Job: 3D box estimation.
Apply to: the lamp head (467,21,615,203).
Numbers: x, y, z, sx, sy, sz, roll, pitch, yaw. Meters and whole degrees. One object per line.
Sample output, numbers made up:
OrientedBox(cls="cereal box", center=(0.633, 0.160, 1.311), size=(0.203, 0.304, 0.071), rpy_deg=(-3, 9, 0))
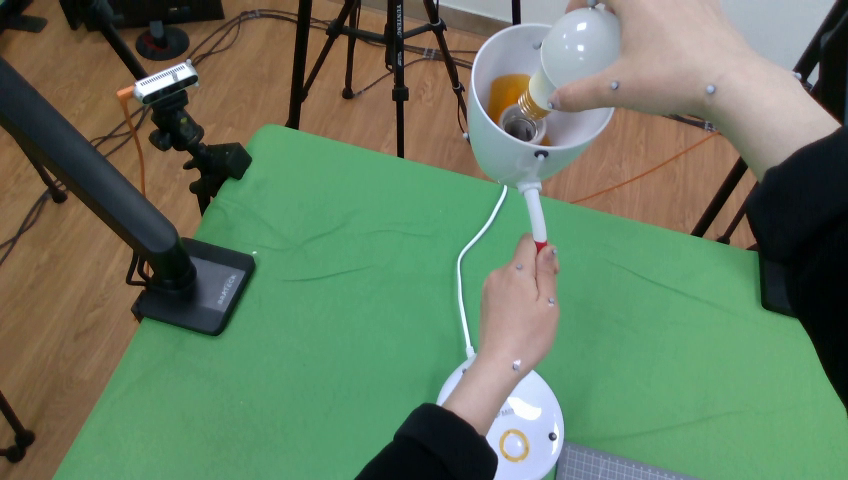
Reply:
OrientedBox(cls="lamp head", center=(0.086, -0.095, 0.504), size=(0.112, 0.123, 0.111), rpy_deg=(2, 64, -4))

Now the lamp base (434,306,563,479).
OrientedBox(cls="lamp base", center=(0.092, 0.164, 0.684), size=(0.161, 0.181, 0.177), rpy_deg=(-21, 60, -19))

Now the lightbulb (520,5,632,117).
OrientedBox(cls="lightbulb", center=(0.101, -0.120, 0.430), size=(0.060, 0.108, 0.059), rpy_deg=(6, 71, -20))
